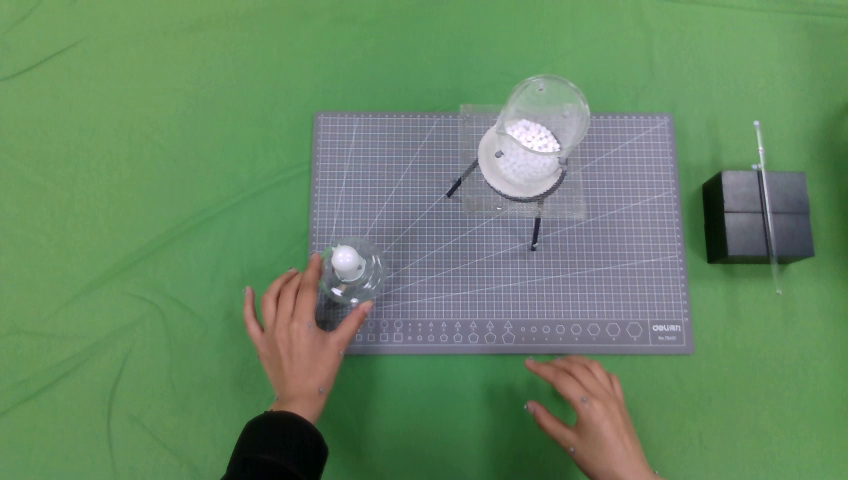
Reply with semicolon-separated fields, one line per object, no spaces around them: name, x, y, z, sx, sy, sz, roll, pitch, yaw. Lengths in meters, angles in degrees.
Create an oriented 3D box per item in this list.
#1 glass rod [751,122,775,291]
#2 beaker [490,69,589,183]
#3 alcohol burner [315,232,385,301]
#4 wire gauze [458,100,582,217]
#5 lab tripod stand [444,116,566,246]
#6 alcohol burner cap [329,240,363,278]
glass rod;0.386;-0.041;0.690;0.008;0.008;0.199;0;79;-1
beaker;0.099;-0.099;0.561;0.084;0.100;0.073;-16;78;-4
alcohol burner;-0.082;0.026;0.657;0.078;0.119;0.077;1;79;-2
wire gauze;0.096;-0.084;0.607;0.125;0.011;0.121;1;79;-4
lab tripod stand;0.098;-0.074;0.672;0.148;0.132;0.147;0;76;-1
alcohol burner cap;-0.082;0.018;0.621;0.034;0.048;0.033;-1;73;3
